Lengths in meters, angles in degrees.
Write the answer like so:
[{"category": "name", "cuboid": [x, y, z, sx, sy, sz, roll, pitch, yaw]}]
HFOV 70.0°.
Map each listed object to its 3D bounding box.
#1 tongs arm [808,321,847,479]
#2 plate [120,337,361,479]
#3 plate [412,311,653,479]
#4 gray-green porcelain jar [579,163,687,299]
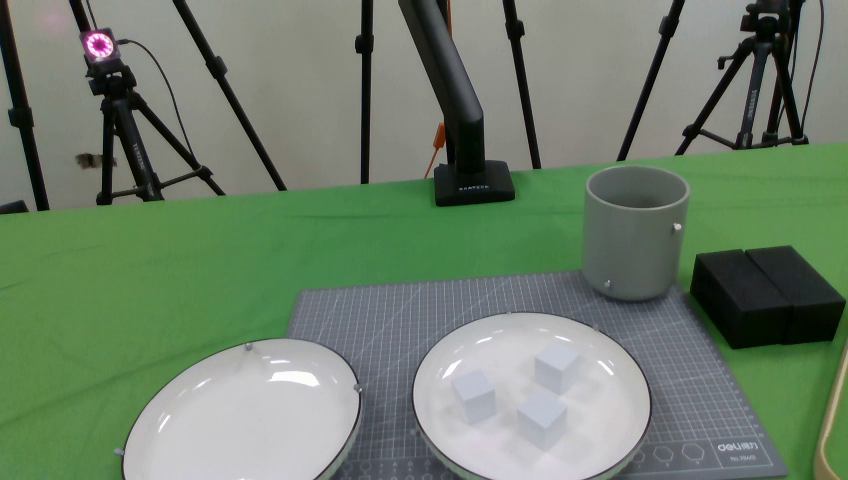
[{"category": "tongs arm", "cuboid": [0.418, 0.094, 0.580, 0.028, 0.028, 0.387, 22, 42, 32]}, {"category": "plate", "cuboid": [-0.157, 0.169, 0.544, 0.209, 0.038, 0.207, -5, 32, 4]}, {"category": "plate", "cuboid": [0.094, 0.143, 0.544, 0.207, 0.039, 0.206, -4, 32, 3]}, {"category": "gray-green porcelain jar", "cuboid": [0.228, -0.007, 0.673, 0.106, 0.127, 0.105, -4, 33, 3]}]
